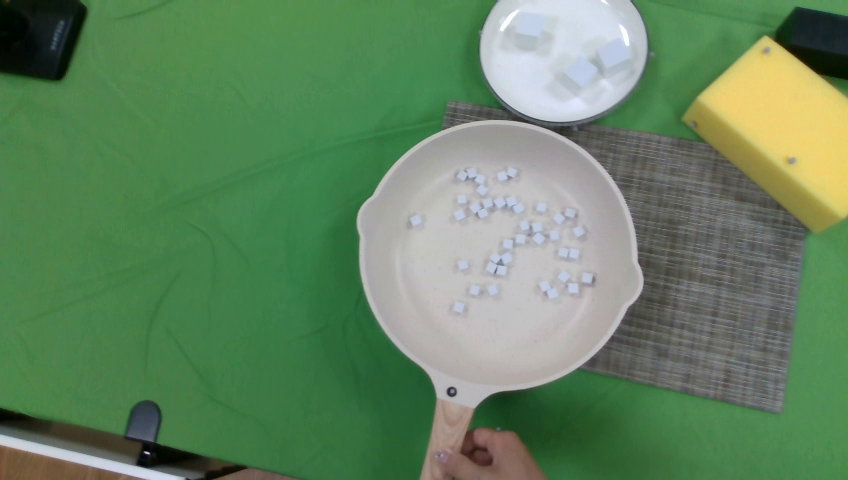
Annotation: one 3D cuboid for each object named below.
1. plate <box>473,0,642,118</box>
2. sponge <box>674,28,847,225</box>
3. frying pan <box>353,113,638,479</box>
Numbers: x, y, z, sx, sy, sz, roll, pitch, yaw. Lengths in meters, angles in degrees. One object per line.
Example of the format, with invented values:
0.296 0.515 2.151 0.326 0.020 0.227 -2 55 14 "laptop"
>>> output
0.166 -0.249 0.766 0.207 0.039 0.206 -1 79 5 "plate"
0.418 -0.132 0.707 0.118 0.061 0.206 -44 77 -6 "sponge"
0.044 0.103 0.634 0.306 0.103 0.485 15 72 8 "frying pan"
